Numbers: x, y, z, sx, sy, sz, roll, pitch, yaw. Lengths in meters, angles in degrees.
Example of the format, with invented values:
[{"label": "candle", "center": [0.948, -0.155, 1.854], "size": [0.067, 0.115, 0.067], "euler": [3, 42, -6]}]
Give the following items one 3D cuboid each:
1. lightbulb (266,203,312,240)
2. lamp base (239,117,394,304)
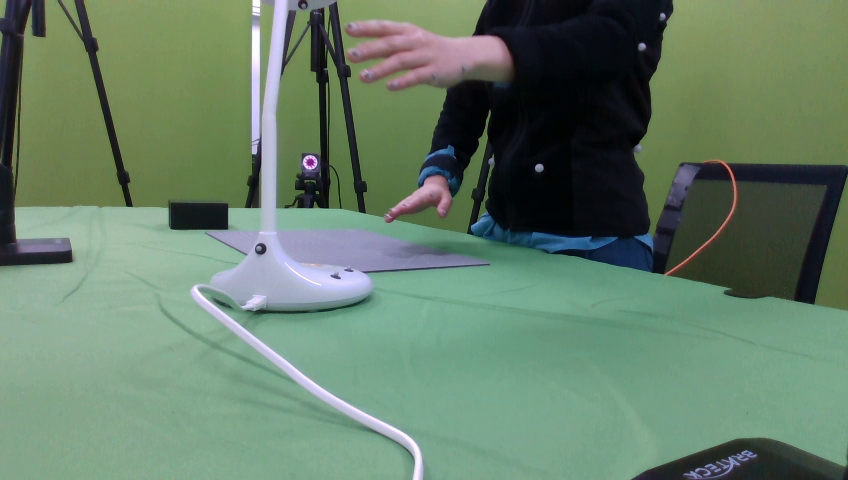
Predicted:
[{"label": "lightbulb", "center": [-0.224, -0.026, 1.032], "size": [0.059, 0.059, 0.108], "euler": [8, 25, 38]}, {"label": "lamp base", "center": [-0.106, -0.034, 0.619], "size": [0.161, 0.180, 0.178], "euler": [0, 10, -17]}]
